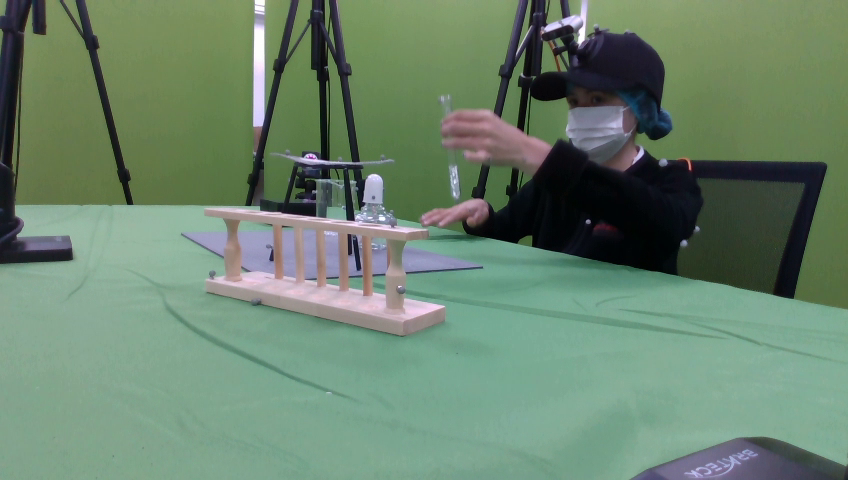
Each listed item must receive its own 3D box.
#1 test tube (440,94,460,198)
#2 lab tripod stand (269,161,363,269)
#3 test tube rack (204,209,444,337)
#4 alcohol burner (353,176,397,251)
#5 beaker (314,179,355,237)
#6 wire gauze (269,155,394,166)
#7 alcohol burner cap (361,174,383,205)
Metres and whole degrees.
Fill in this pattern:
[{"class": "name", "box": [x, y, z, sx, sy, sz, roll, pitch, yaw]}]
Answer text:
[{"class": "test tube", "box": [0.039, -0.135, 0.875, 0.017, 0.150, 0.017, -6, 10, 1]}, {"class": "lab tripod stand", "box": [-0.125, -0.036, 0.794, 0.148, 0.131, 0.148, 5, 7, 0]}, {"class": "test tube rack", "box": [-0.100, 0.021, 0.565, 0.241, 0.085, 0.067, 7, 9, 32]}, {"class": "alcohol burner", "box": [-0.082, -0.043, 0.950, 0.078, 0.119, 0.078, 1, 8, 0]}, {"class": "beaker", "box": [-0.162, -0.058, 1.094, 0.074, 0.100, 0.083, 0, 9, -21]}, {"class": "wire gauze", "box": [-0.121, -0.102, 0.785, 0.122, 0.011, 0.124, -3, 10, -39]}, {"class": "alcohol burner cap", "box": [-0.080, -0.078, 0.945, 0.034, 0.048, 0.034, 5, 8, 0]}]
